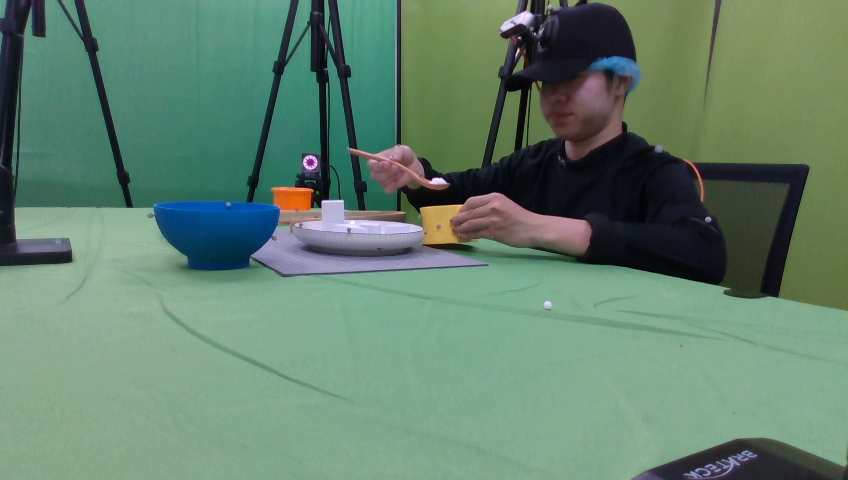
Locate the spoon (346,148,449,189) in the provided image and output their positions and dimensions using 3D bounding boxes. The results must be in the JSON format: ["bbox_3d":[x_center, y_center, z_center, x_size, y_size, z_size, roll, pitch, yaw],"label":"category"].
[{"bbox_3d":[-0.047,-0.125,1.039,0.193,0.021,0.042,25,16,13],"label":"spoon"}]

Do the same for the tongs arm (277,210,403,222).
[{"bbox_3d":[-0.206,-0.052,1.332,0.387,0.026,0.050,-2,8,-44],"label":"tongs arm"}]

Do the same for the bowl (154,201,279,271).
[{"bbox_3d":[-0.263,-0.005,0.773,0.151,0.077,0.151,3,8,0],"label":"bowl"}]

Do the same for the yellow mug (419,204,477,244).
[{"bbox_3d":[0.049,-0.028,1.041,0.100,0.064,0.130,-4,2,-29],"label":"yellow mug"}]

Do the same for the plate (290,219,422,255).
[{"bbox_3d":[-0.107,-0.005,0.963,0.208,0.039,0.207,2,7,0],"label":"plate"}]

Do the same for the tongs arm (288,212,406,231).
[{"bbox_3d":[-0.146,-0.040,1.280,0.028,0.028,0.389,3,5,33],"label":"tongs arm"}]
